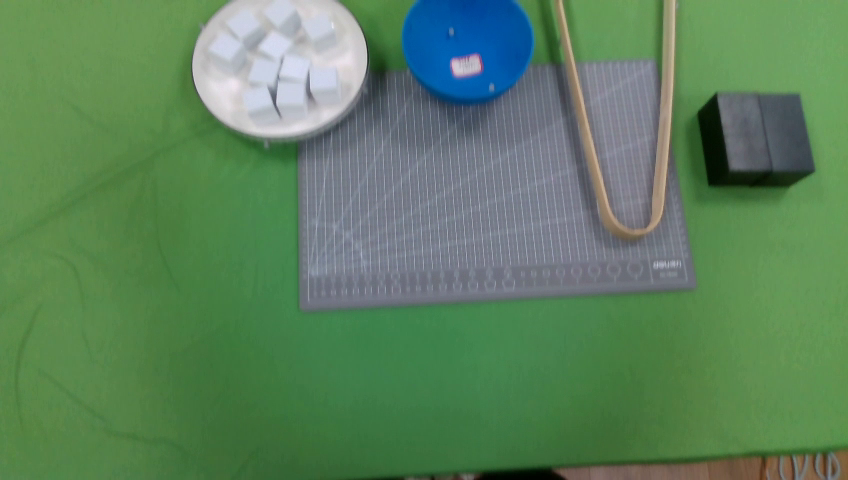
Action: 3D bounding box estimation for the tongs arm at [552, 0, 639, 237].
[{"bbox_3d":[0.199,-0.189,0.737,0.051,0.026,0.382,-4,76,-7],"label":"tongs arm"}]

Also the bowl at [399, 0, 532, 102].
[{"bbox_3d":[0.046,-0.221,0.716,0.151,0.077,0.150,1,75,-2],"label":"bowl"}]

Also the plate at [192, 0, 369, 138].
[{"bbox_3d":[-0.168,-0.214,0.728,0.208,0.039,0.206,0,75,-1],"label":"plate"}]

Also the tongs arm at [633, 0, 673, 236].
[{"bbox_3d":[0.286,-0.189,0.742,0.028,0.028,0.385,11,75,-6],"label":"tongs arm"}]
